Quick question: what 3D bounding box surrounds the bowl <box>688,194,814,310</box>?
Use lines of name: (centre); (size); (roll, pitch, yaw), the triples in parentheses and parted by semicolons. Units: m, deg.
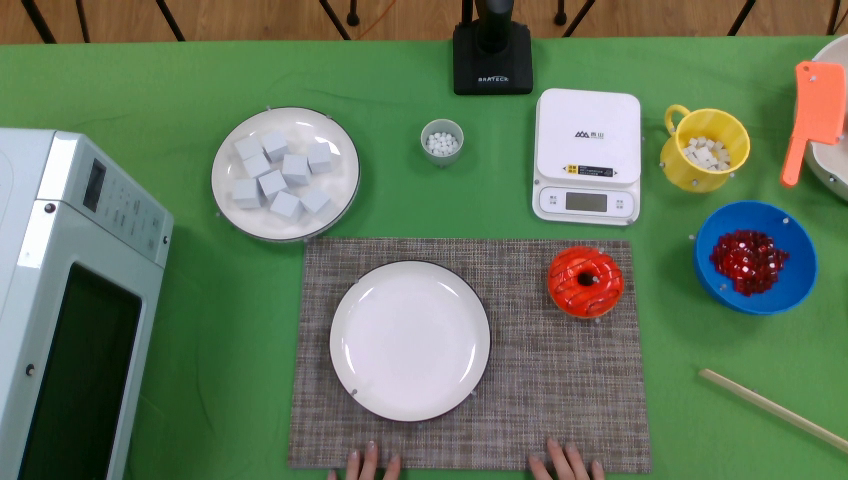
bowl: (0.410, 0.024, 0.790); (0.151, 0.077, 0.150); (0, 72, 1)

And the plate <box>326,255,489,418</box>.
plate: (-0.021, 0.122, 0.782); (0.209, 0.038, 0.208); (0, 72, 1)

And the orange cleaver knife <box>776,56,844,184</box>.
orange cleaver knife: (0.523, -0.165, 0.817); (0.077, 0.012, 0.210); (18, 74, 7)

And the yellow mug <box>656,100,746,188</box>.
yellow mug: (0.377, -0.144, 0.851); (0.100, 0.064, 0.130); (-31, 73, -8)

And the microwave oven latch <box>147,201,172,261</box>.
microwave oven latch: (-0.362, -0.013, 0.816); (0.030, 0.029, 0.078); (5, 73, 2)

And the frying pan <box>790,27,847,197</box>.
frying pan: (0.700, -0.084, 0.807); (0.307, 0.103, 0.483); (-25, 65, -6)

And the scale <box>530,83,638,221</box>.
scale: (0.230, -0.128, 0.867); (0.148, 0.032, 0.199); (4, 73, 3)

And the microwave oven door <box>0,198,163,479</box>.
microwave oven door: (-0.380, 0.162, 0.652); (0.039, 0.245, 0.353); (3, 72, 2)

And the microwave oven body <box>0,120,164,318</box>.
microwave oven body: (-0.523, 0.116, 0.675); (0.326, 0.261, 0.439); (3, 73, 2)

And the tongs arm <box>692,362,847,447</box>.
tongs arm: (0.511, 0.253, 0.740); (0.386, 0.028, 0.028); (29, 66, 10)

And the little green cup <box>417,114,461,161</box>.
little green cup: (0.022, -0.145, 0.873); (0.061, 0.039, 0.061); (0, 71, 1)

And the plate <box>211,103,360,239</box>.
plate: (-0.193, -0.096, 0.860); (0.208, 0.039, 0.206); (0, 72, 1)

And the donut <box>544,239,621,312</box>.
donut: (0.208, 0.047, 0.800); (0.099, 0.048, 0.098); (-1, 72, 3)
